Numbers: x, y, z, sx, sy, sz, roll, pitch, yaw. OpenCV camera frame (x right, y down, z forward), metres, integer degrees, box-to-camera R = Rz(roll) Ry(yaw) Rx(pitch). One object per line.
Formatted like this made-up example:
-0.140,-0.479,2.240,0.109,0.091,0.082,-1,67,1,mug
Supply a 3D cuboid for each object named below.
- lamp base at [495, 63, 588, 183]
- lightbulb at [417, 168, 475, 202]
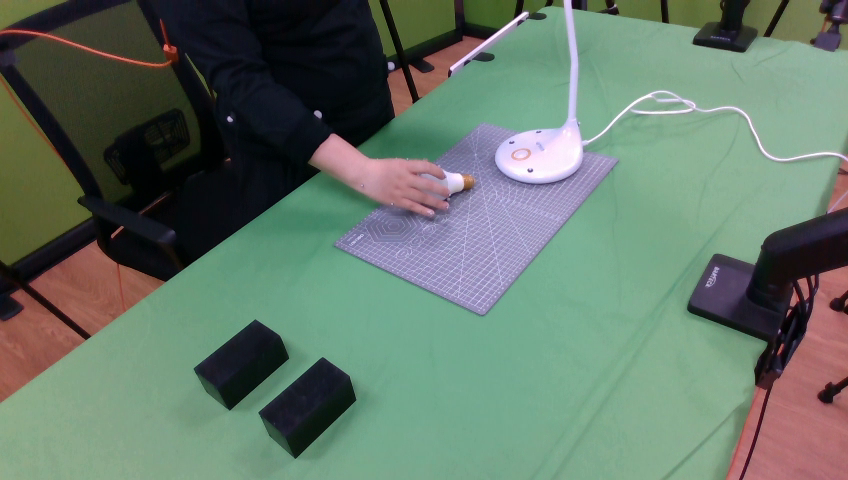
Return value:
0.215,-0.217,1.067,0.180,0.181,0.159,-19,42,-18,lamp base
0.040,-0.098,1.055,0.108,0.059,0.059,-8,37,-25,lightbulb
